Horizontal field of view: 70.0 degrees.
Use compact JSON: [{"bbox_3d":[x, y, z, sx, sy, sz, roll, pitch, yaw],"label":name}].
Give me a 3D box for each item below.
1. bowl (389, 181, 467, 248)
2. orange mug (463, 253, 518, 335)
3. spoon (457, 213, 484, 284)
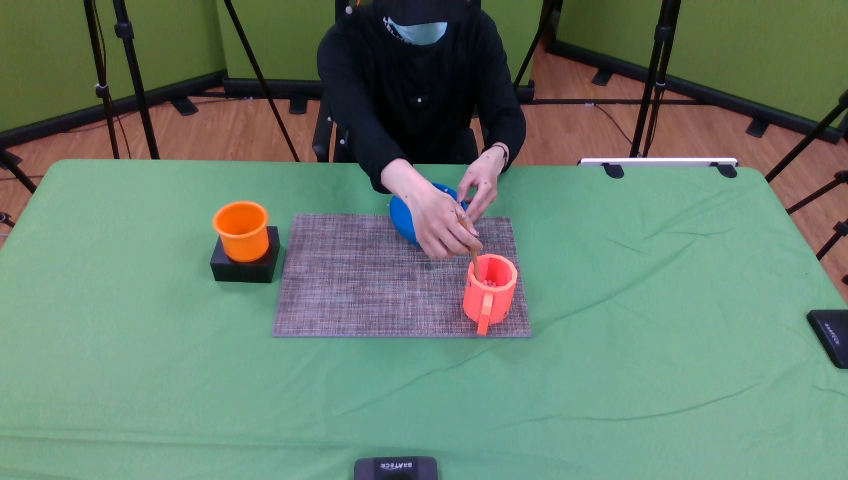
[{"bbox_3d":[0.006,-0.038,1.188,0.151,0.077,0.150,2,46,-2],"label":"bowl"},{"bbox_3d":[0.113,0.098,1.050,0.083,0.101,0.125,10,41,5],"label":"orange mug"},{"bbox_3d":[0.084,0.035,1.016,0.021,0.195,0.041,-30,32,-22],"label":"spoon"}]
